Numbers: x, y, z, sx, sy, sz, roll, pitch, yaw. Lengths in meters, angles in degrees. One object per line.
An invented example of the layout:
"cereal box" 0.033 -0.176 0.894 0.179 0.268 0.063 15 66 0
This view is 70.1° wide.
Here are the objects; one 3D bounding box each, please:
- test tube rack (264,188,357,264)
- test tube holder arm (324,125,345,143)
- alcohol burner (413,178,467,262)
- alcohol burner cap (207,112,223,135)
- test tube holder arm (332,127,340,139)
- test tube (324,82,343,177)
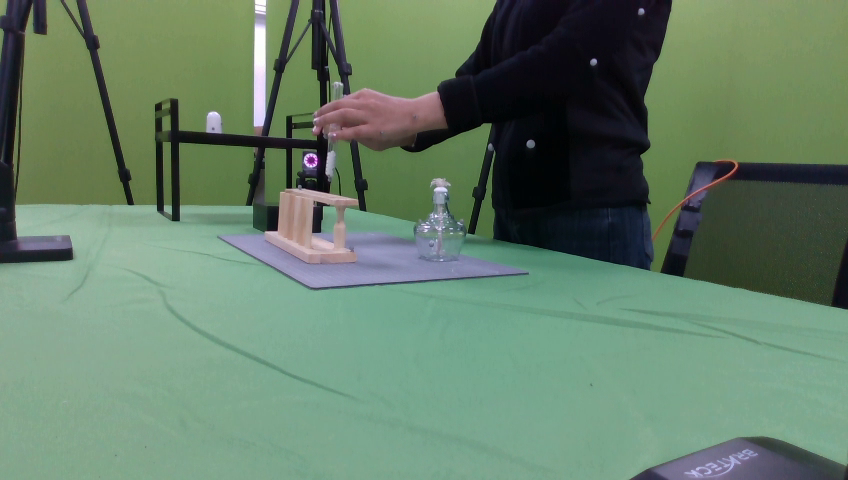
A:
"test tube rack" -0.174 -0.027 0.890 0.067 0.085 0.241 -1 8 -28
"test tube holder arm" -0.151 -0.180 1.030 0.013 0.015 0.178 12 4 -2
"alcohol burner" 0.023 -0.029 0.864 0.078 0.119 0.078 1 6 0
"alcohol burner cap" -0.440 -0.245 1.271 0.034 0.048 0.034 1 7 0
"test tube holder arm" -0.143 -0.175 0.986 0.010 0.015 0.087 11 5 -9
"test tube" -0.144 -0.176 0.963 0.017 0.150 0.017 7 6 0
